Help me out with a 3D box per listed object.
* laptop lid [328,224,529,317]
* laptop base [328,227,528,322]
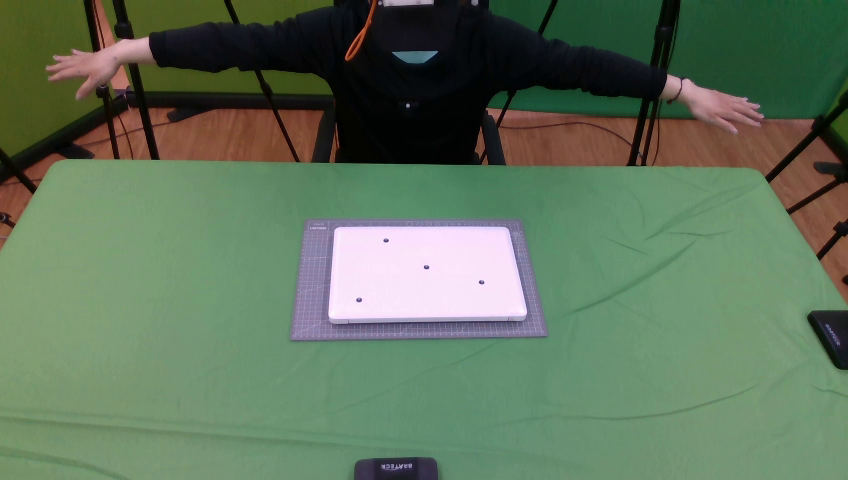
[{"bbox_3d":[0.005,0.051,1.130,0.357,0.013,0.240,1,44,-3],"label":"laptop lid"},{"bbox_3d":[0.005,0.061,1.136,0.355,0.023,0.234,0,43,-4],"label":"laptop base"}]
